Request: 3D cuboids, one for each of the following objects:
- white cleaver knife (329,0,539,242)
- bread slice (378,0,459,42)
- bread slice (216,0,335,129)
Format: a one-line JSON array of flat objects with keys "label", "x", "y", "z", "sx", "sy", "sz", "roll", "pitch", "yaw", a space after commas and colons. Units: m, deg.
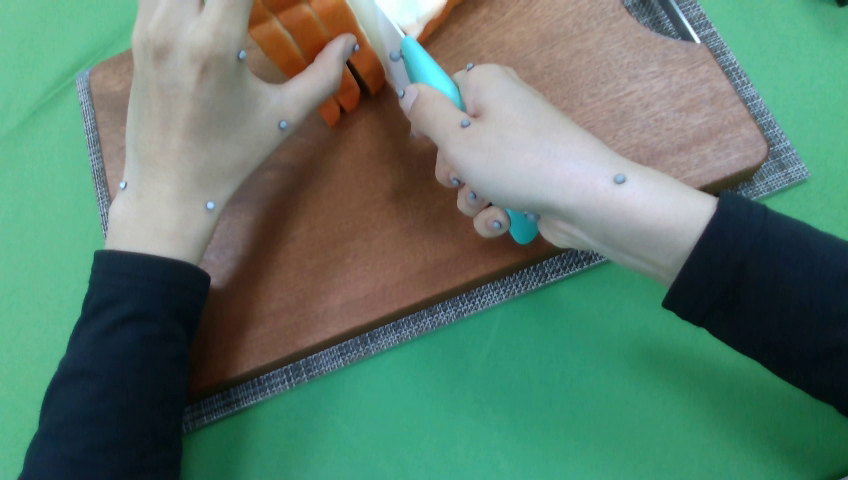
[{"label": "white cleaver knife", "x": -0.017, "y": -0.114, "z": 0.373, "sx": 0.021, "sy": 0.066, "sz": 0.284, "roll": -29, "pitch": 71, "yaw": -11}, {"label": "bread slice", "x": 0.010, "y": -0.207, "z": 0.420, "sx": 0.131, "sy": 0.019, "sz": 0.104, "roll": -41, "pitch": 67, "yaw": 0}, {"label": "bread slice", "x": -0.099, "y": -0.143, "z": 0.365, "sx": 0.018, "sy": 0.135, "sz": 0.106, "roll": -27, "pitch": 66, "yaw": 5}]
